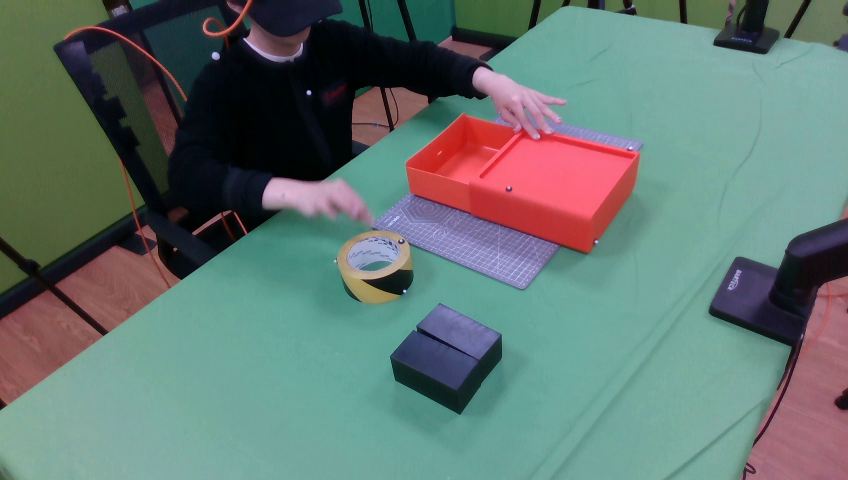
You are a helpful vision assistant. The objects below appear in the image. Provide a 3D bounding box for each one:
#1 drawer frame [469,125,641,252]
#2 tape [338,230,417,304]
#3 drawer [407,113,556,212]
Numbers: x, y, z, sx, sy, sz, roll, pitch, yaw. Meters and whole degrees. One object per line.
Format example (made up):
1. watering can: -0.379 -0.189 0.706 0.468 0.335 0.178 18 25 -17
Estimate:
1. drawer frame: 0.216 -0.093 1.003 0.212 0.083 0.202 20 47 28
2. tape: -0.069 0.041 0.917 0.117 0.053 0.116 -4 41 4
3. drawer: 0.111 -0.131 1.066 0.210 0.073 0.195 21 47 29
